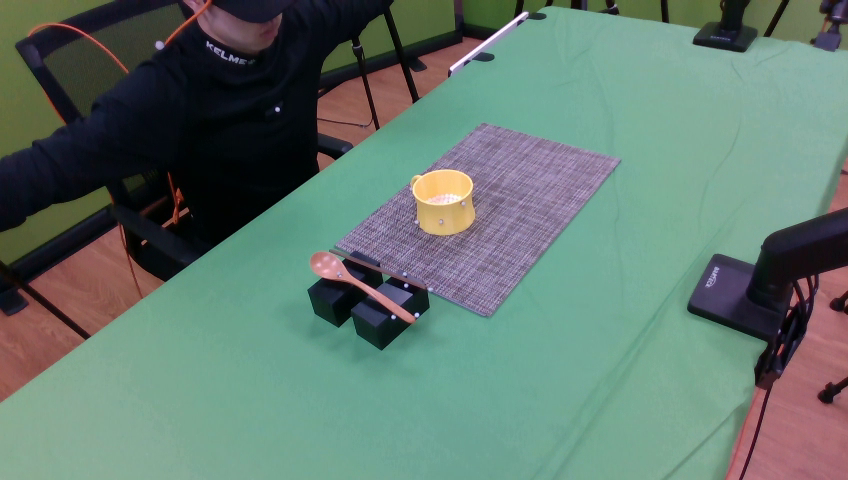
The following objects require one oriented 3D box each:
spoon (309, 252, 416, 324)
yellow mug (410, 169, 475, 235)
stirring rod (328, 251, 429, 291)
[{"bbox_3d":[-0.087,0.066,0.830,0.192,0.022,0.042,28,51,32],"label":"spoon"},{"bbox_3d":[0.022,-0.070,1.007,0.129,0.064,0.100,29,52,36],"label":"yellow mug"},{"bbox_3d":[-0.068,0.043,0.860,0.175,0.006,0.014,18,13,28],"label":"stirring rod"}]
